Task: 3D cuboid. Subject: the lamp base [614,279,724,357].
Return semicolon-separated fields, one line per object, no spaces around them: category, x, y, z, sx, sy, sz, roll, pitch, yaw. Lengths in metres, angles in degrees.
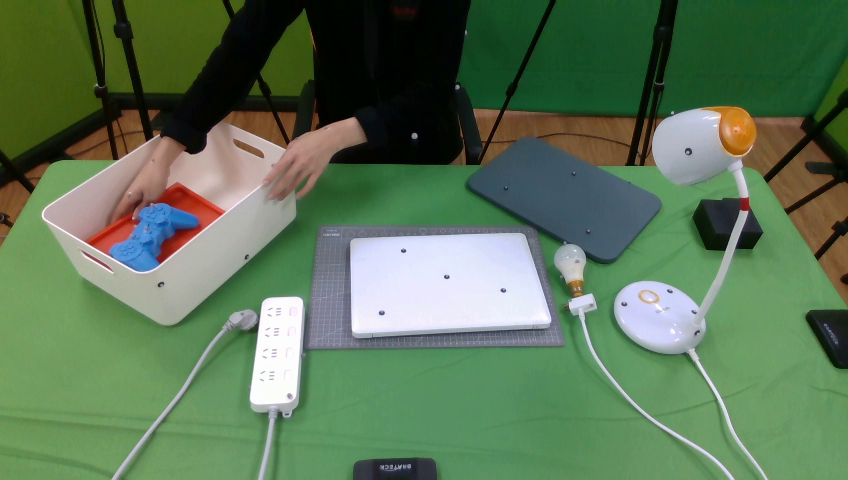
lamp base;0.436;0.090;1.034;0.161;0.181;0.178;-23;55;-23

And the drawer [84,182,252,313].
drawer;-0.457;0.008;1.098;0.194;0.073;0.211;29;49;21

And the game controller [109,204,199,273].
game controller;-0.467;-0.005;1.044;0.097;0.052;0.154;8;46;10

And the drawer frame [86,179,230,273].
drawer frame;-0.454;0.010;1.099;0.201;0.083;0.213;28;54;22

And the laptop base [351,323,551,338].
laptop base;0.039;0.080;1.126;0.355;0.023;0.234;-2;43;-6

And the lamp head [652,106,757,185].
lamp head;0.410;-0.139;0.869;0.113;0.122;0.112;0;89;-19

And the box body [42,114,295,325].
box body;-0.437;-0.046;1.110;0.253;0.161;0.363;24;49;19

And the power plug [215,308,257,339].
power plug;-0.317;0.143;1.024;0.072;0.053;0.035;-32;58;-9

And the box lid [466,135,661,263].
box lid;0.306;-0.102;1.327;0.370;0.015;0.263;32;52;25

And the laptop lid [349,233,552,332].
laptop lid;0.040;0.070;1.119;0.357;0.013;0.240;-1;44;-5

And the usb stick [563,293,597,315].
usb stick;0.280;0.118;1.092;0.059;0.021;0.027;-18;35;25

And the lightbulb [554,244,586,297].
lightbulb;0.281;0.058;1.146;0.059;0.060;0.107;-2;62;-6

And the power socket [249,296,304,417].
power socket;-0.239;0.182;0.996;0.072;0.033;0.225;-2;47;-5
